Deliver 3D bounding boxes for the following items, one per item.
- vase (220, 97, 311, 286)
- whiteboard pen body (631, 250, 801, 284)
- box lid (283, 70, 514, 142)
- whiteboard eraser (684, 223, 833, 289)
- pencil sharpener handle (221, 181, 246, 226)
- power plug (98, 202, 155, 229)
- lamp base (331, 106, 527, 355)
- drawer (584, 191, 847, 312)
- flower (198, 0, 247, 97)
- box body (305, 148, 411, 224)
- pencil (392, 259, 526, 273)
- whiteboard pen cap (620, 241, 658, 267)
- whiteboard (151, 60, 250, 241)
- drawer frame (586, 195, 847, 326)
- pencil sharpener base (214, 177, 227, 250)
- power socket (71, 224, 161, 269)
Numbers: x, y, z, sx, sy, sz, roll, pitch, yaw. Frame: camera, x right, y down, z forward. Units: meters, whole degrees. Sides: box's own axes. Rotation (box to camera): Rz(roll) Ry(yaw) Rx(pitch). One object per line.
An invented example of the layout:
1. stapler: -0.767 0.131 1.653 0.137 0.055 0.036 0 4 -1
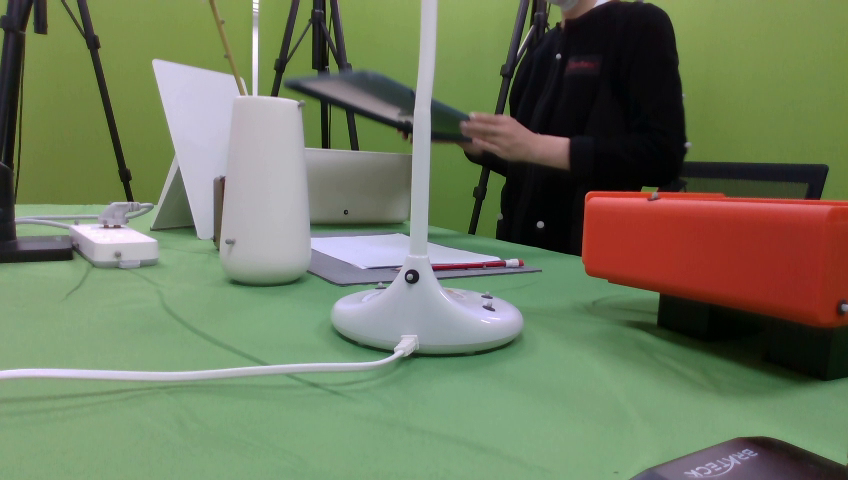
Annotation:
1. vase: -0.172 -0.052 0.662 0.098 0.200 0.098 3 9 0
2. whiteboard pen body: 0.239 0.020 0.512 0.017 0.017 0.140 -4 8 -41
3. box lid: -0.040 -0.230 1.082 0.374 0.015 0.262 11 0 -44
4. whiteboard eraser: 0.305 0.013 0.558 0.056 0.042 0.112 -9 19 -31
5. pencil sharpener handle: -0.289 -0.055 0.912 0.036 0.067 0.030 -4 9 -29
6. power plug: -0.416 -0.027 0.848 0.073 0.052 0.035 0 8 -28
7. lamp base: 0.006 -0.012 0.478 0.161 0.180 0.179 2 10 2
8. drawer: 0.280 0.001 0.513 0.195 0.073 0.211 0 8 -28
9. flower: -0.187 -0.133 0.648 0.038 0.362 0.044 -1 22 43
10. box body: -0.233 -0.127 1.374 0.366 0.160 0.253 -2 8 -29
11. pencil: 0.049 0.035 0.783 0.195 0.012 0.012 -3 9 -24
12. whiteboard pen cap: 0.199 0.013 0.557 0.018 0.018 0.033 -4 18 -40
13. whiteboard: -0.408 -0.140 1.093 0.143 0.305 0.218 -15 0 25
14. drawer frame: 0.284 0.004 0.508 0.203 0.082 0.212 -1 6 -28
15. pencil sharpener base: -0.265 -0.037 0.870 0.061 0.107 0.076 -2 8 -29
16. power socket: -0.408 0.004 0.793 0.072 0.032 0.225 -2 8 -38
